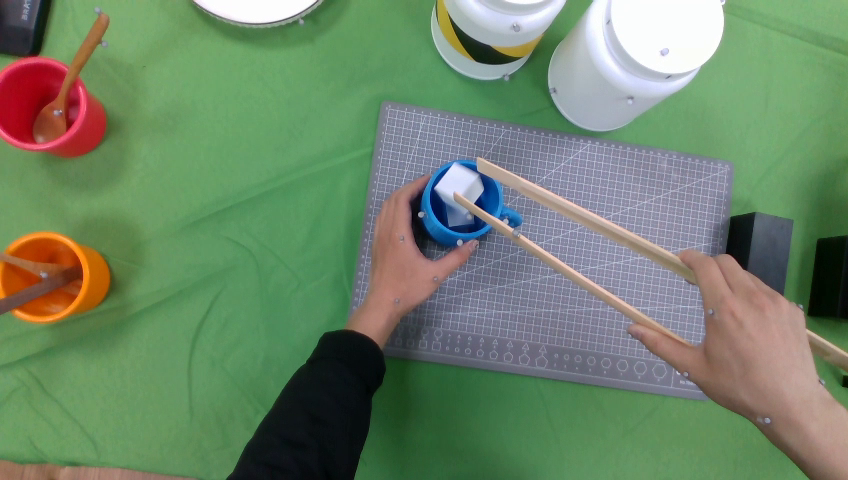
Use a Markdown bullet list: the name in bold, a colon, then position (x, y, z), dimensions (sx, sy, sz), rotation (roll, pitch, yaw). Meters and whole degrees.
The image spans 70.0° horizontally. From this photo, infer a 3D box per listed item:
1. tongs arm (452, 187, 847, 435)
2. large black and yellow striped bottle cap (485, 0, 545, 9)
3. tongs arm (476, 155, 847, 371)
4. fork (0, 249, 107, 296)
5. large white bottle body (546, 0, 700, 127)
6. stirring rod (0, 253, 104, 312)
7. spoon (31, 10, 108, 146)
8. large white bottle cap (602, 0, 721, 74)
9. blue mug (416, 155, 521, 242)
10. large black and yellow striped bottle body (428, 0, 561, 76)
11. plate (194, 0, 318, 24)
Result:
- **tongs arm**: position (0.189, 0.045, 0.515), dimensions (0.382, 0.027, 0.050), rotation (36, 77, 19)
- **large black and yellow striped bottle cap**: position (0.086, -0.278, 0.574), dimensions (0.115, 0.019, 0.115), rotation (0, 87, -7)
- **tongs arm**: position (0.204, 0.024, 0.521), dimensions (0.385, 0.028, 0.028), rotation (33, 72, 18)
- **fork**: position (-0.420, 0.013, 0.601), dimensions (0.209, 0.018, 0.028), rotation (33, 79, -46)
- **large white bottle body**: position (0.221, -0.210, 0.667), dimensions (0.131, 0.184, 0.130), rotation (0, 86, -6)
- **stirring rod**: position (-0.403, 0.054, 0.606), dimensions (0.014, 0.006, 0.176), rotation (56, 41, -3)
- **spoon**: position (-0.365, -0.162, 0.621), dimensions (0.194, 0.021, 0.041), rotation (-38, 86, 36)
- **large white bottle cap**: position (0.229, -0.218, 0.584), dimensions (0.115, 0.018, 0.114), rotation (1, 86, -7)
- **blue mug**: position (0.051, -0.038, 0.676), dimensions (0.117, 0.106, 0.082), rotation (15, 84, -5)
- **large black and yellow striped bottle body**: position (0.078, -0.270, 0.656), dimensions (0.131, 0.184, 0.130), rotation (0, 86, -6)
- **plate**: position (-0.196, -0.349, 0.705), dimensions (0.208, 0.039, 0.207), rotation (0, 86, -6)
